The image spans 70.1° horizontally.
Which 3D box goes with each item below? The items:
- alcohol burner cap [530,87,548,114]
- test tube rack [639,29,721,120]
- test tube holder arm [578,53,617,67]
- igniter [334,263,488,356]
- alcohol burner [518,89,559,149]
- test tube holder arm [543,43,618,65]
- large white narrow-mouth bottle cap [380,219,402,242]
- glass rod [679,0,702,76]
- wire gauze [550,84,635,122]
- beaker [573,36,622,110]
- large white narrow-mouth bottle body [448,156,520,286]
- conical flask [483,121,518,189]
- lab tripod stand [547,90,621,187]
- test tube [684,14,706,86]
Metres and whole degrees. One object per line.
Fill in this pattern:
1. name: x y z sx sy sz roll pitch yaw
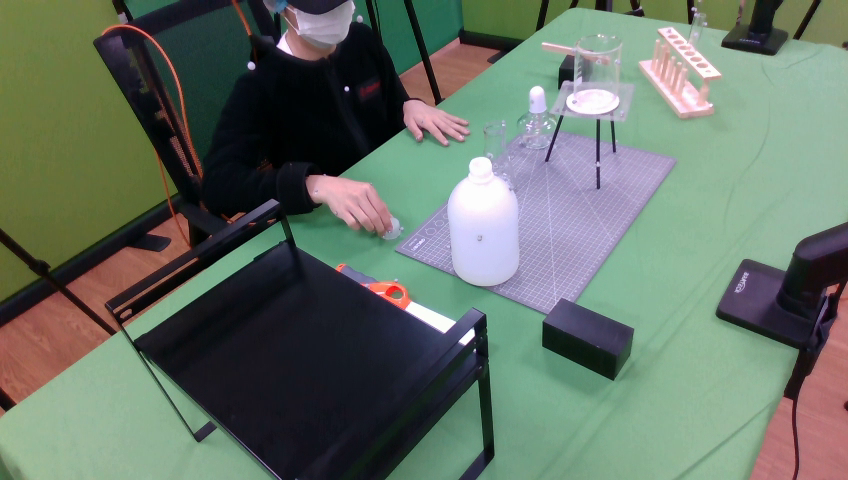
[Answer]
1. alcohol burner cap: 0.212 -0.262 1.126 0.034 0.048 0.033 -8 37 7
2. test tube rack: 0.527 -0.351 1.262 0.067 0.085 0.241 -8 40 1
3. test tube holder arm: 0.376 -0.393 1.314 0.087 0.015 0.010 26 51 32
4. igniter: -0.030 0.095 0.872 0.274 0.025 0.057 23 59 31
5. alcohol burner: 0.218 -0.234 1.149 0.078 0.119 0.077 -5 43 5
6. test tube holder arm: 0.345 -0.413 1.341 0.177 0.015 0.013 25 50 31
7. large white narrow-mouth bottle cap: -0.056 -0.017 1.011 0.038 0.024 0.037 -4 40 4
8. glass rod: 0.543 -0.417 1.233 0.008 0.200 0.008 1 39 0
9. wire gauze: 0.285 -0.234 1.021 0.124 0.011 0.121 8 41 23
10. beaker: 0.283 -0.273 0.990 0.073 0.101 0.084 16 46 28
11. large white narrow-mouth bottle body: 0.086 -0.032 0.869 0.102 0.195 0.101 -4 40 4
12. conical flask: 0.126 -0.145 1.051 0.075 0.122 0.075 -5 40 4
13. lab tripod stand: 0.289 -0.184 1.062 0.148 0.132 0.147 -6 41 6
14. test tube: 0.540 -0.378 1.215 0.017 0.151 0.017 -2 44 3
